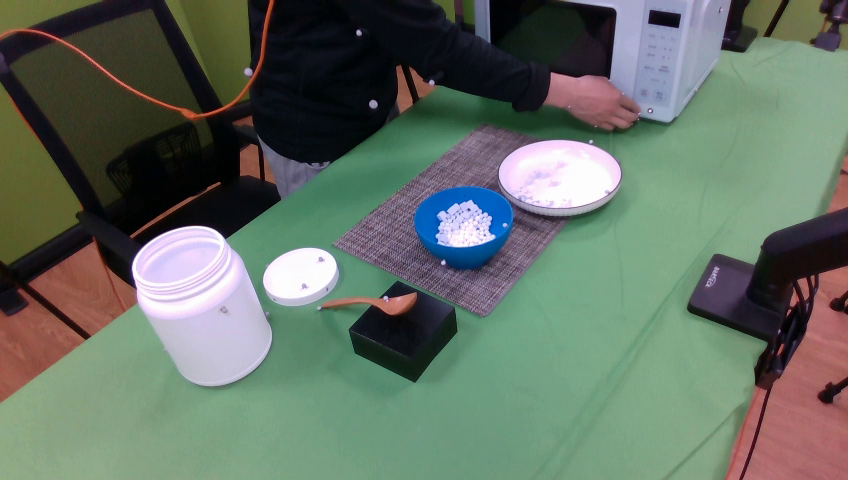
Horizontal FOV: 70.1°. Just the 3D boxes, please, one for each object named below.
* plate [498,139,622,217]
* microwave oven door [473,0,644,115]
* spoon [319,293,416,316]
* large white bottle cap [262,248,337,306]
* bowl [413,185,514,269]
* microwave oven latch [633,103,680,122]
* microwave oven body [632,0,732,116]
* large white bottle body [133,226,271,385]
[{"bbox_3d":[0.231,-0.103,1.038,0.209,0.038,0.208,-4,41,4],"label":"plate"},{"bbox_3d":[0.257,-0.396,1.199,0.353,0.245,0.039,21,48,29],"label":"microwave oven door"},{"bbox_3d":[-0.082,0.086,0.827,0.192,0.022,0.041,-3,37,41],"label":"spoon"},{"bbox_3d":[-0.193,0.056,0.934,0.115,0.018,0.114,-5,41,4],"label":"large white bottle cap"},{"bbox_3d":[0.062,-0.009,0.920,0.151,0.077,0.150,-4,40,4],"label":"bowl"},{"bbox_3d":[0.444,-0.249,1.158,0.078,0.029,0.030,21,49,30],"label":"microwave oven latch"},{"bbox_3d":[0.377,-0.463,1.267,0.438,0.261,0.327,21,49,30],"label":"microwave oven body"},{"bbox_3d":[-0.285,0.084,0.784,0.130,0.185,0.130,-4,41,4],"label":"large white bottle body"}]
